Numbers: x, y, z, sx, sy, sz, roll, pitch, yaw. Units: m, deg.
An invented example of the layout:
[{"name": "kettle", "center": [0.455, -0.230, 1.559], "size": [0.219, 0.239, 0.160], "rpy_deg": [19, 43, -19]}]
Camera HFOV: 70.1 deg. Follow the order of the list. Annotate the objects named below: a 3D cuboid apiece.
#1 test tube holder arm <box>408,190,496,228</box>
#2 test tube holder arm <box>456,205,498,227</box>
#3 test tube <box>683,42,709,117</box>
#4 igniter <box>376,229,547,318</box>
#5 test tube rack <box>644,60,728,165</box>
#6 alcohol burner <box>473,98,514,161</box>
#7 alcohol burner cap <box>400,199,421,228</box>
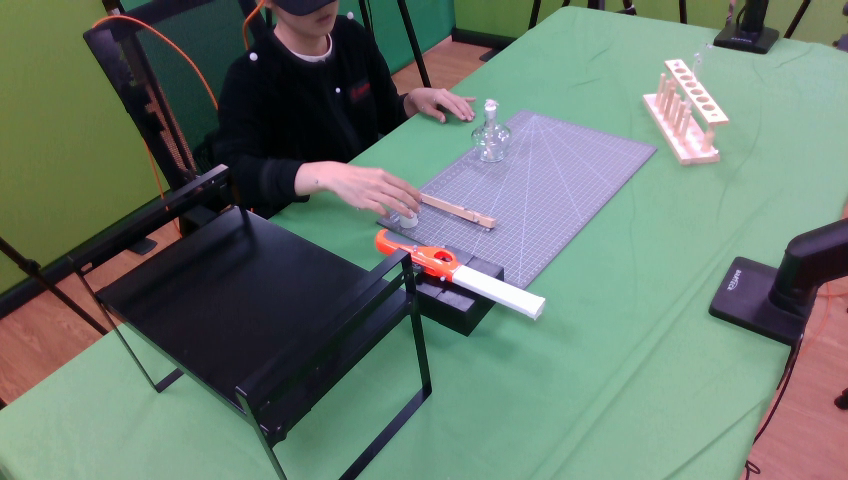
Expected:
[{"name": "test tube holder arm", "center": [0.045, -0.055, 1.029], "size": [0.177, 0.015, 0.013], "rpy_deg": [22, 12, 30]}, {"name": "test tube holder arm", "center": [0.083, -0.041, 1.011], "size": [0.087, 0.015, 0.010], "rpy_deg": [22, 12, 32]}, {"name": "test tube", "center": [0.499, -0.292, 1.115], "size": [0.017, 0.151, 0.017], "rpy_deg": [-3, 44, 3]}, {"name": "igniter", "center": [0.040, 0.041, 0.845], "size": [0.274, 0.025, 0.057], "rpy_deg": [22, 46, 27]}, {"name": "test tube rack", "center": [0.486, -0.247, 1.139], "size": [0.067, 0.085, 0.241], "rpy_deg": [-5, 41, 4]}, {"name": "alcohol burner", "center": [0.127, -0.208, 1.123], "size": [0.078, 0.119, 0.077], "rpy_deg": [-5, 39, 5]}, {"name": "alcohol burner cap", "center": [-0.024, -0.047, 1.014], "size": [0.034, 0.048, 0.033], "rpy_deg": [-6, 42, 6]}]
